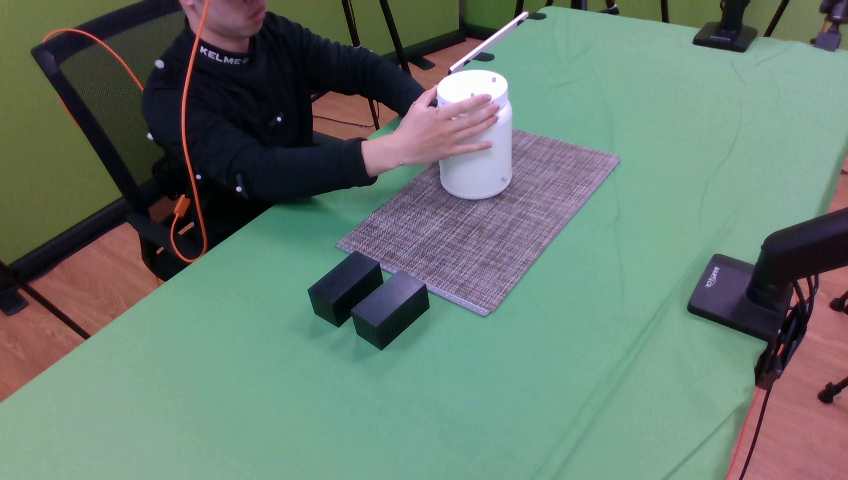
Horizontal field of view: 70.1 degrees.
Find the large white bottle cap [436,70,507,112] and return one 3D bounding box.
[{"bbox_3d":[0.077,-0.241,0.975,0.115,0.018,0.114,-4,40,4],"label":"large white bottle cap"}]

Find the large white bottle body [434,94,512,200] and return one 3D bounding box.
[{"bbox_3d":[0.086,-0.177,1.031,0.130,0.185,0.130,-4,40,4],"label":"large white bottle body"}]
